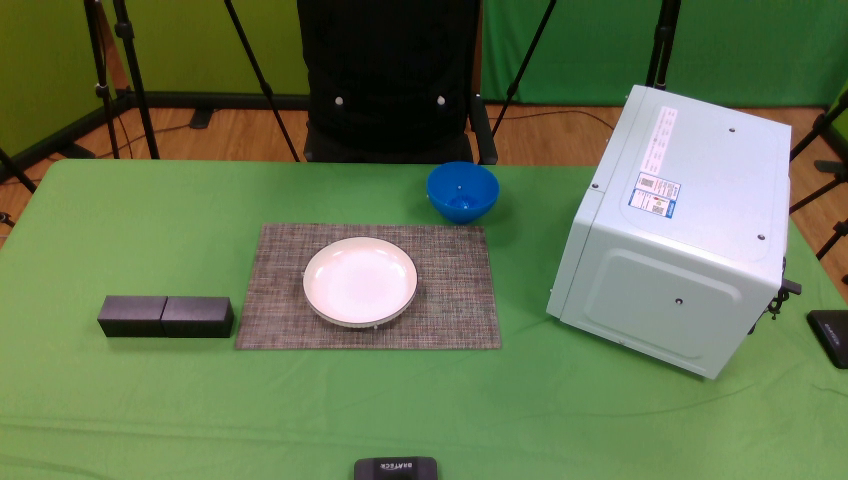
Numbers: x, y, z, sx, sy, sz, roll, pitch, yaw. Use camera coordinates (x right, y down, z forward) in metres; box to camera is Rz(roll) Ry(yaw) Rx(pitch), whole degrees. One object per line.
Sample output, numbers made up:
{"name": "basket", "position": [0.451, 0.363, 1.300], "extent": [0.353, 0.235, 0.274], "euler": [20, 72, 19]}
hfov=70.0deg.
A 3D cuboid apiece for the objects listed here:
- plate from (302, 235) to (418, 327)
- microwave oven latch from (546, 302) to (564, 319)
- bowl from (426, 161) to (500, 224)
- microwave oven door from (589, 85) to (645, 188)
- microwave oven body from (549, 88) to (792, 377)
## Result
{"name": "plate", "position": [-0.114, 0.077, 1.098], "extent": [0.208, 0.039, 0.206], "euler": [2, 46, -2]}
{"name": "microwave oven latch", "position": [0.242, 0.102, 1.081], "extent": [0.030, 0.029, 0.079], "euler": [21, 48, 17]}
{"name": "bowl", "position": [0.077, -0.086, 1.248], "extent": [0.151, 0.077, 0.150], "euler": [2, 46, -2]}
{"name": "microwave oven door", "position": [0.342, -0.107, 1.149], "extent": [0.039, 0.245, 0.354], "euler": [20, 48, 15]}
{"name": "microwave oven body", "position": [0.456, -0.028, 1.088], "extent": [0.325, 0.261, 0.440], "euler": [20, 47, 16]}
